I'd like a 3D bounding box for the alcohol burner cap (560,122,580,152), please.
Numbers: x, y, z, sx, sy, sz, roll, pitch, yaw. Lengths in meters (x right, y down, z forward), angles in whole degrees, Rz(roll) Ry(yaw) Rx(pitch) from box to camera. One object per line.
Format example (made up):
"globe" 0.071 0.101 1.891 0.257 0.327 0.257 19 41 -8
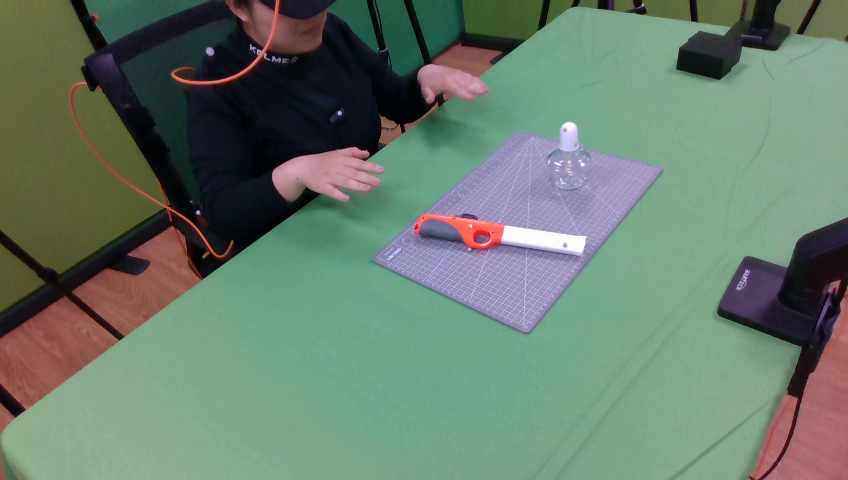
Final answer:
"alcohol burner cap" 0.244 -0.174 1.010 0.034 0.048 0.033 -8 40 7

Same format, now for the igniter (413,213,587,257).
"igniter" 0.116 -0.009 0.959 0.275 0.025 0.057 8 65 17

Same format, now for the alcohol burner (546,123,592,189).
"alcohol burner" 0.248 -0.147 1.034 0.078 0.120 0.077 -7 41 6
